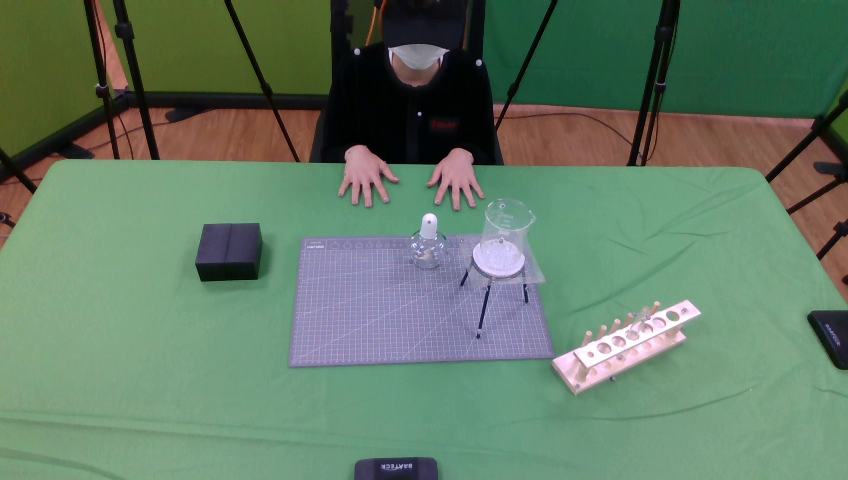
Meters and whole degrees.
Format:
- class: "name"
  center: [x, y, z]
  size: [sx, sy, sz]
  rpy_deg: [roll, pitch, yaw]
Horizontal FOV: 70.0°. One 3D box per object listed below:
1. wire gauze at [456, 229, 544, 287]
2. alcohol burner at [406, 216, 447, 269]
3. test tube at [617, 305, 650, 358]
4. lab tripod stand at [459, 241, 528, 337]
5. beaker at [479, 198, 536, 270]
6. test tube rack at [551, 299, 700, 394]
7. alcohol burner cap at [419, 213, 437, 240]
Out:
- class: "wire gauze"
  center: [0.125, 0.030, 1.008]
  size: [0.125, 0.011, 0.120]
  rpy_deg: [-3, 48, -11]
- class: "alcohol burner"
  center: [0.006, -0.002, 1.134]
  size: [0.078, 0.120, 0.077]
  rpy_deg: [2, 48, -2]
- class: "test tube"
  center: [0.333, 0.149, 0.967]
  size: [0.017, 0.151, 0.017]
  rpy_deg: [0, 52, 1]
- class: "lab tripod stand"
  center: [0.122, 0.075, 1.054]
  size: [0.148, 0.132, 0.147]
  rpy_deg: [3, 44, -3]
- class: "beaker"
  center: [0.131, -0.007, 0.975]
  size: [0.084, 0.101, 0.073]
  rpy_deg: [2, 46, -3]
- class: "test tube rack"
  center: [0.339, 0.166, 1.021]
  size: [0.242, 0.085, 0.066]
  rpy_deg: [-19, 50, -21]
- class: "alcohol burner cap"
  center: [0.009, -0.027, 1.109]
  size: [0.034, 0.048, 0.033]
  rpy_deg: [3, 44, -3]
